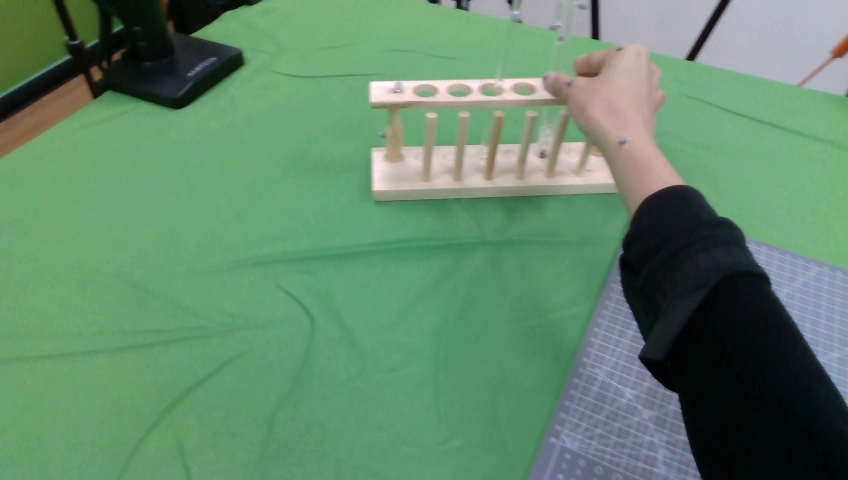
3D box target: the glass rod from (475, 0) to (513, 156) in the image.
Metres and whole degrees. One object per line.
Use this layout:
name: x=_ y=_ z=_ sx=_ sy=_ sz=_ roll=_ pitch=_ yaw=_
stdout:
glass rod: x=0.060 y=-0.147 z=0.511 sx=0.008 sy=0.201 sz=0.008 roll=3 pitch=49 yaw=-3

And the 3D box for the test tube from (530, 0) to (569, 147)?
test tube: x=0.109 y=-0.144 z=0.534 sx=0.017 sy=0.151 sz=0.017 roll=-1 pitch=48 yaw=1

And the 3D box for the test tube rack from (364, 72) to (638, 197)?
test tube rack: x=0.069 y=-0.097 z=0.555 sx=0.243 sy=0.086 sz=0.066 roll=-3 pitch=46 yaw=-5
